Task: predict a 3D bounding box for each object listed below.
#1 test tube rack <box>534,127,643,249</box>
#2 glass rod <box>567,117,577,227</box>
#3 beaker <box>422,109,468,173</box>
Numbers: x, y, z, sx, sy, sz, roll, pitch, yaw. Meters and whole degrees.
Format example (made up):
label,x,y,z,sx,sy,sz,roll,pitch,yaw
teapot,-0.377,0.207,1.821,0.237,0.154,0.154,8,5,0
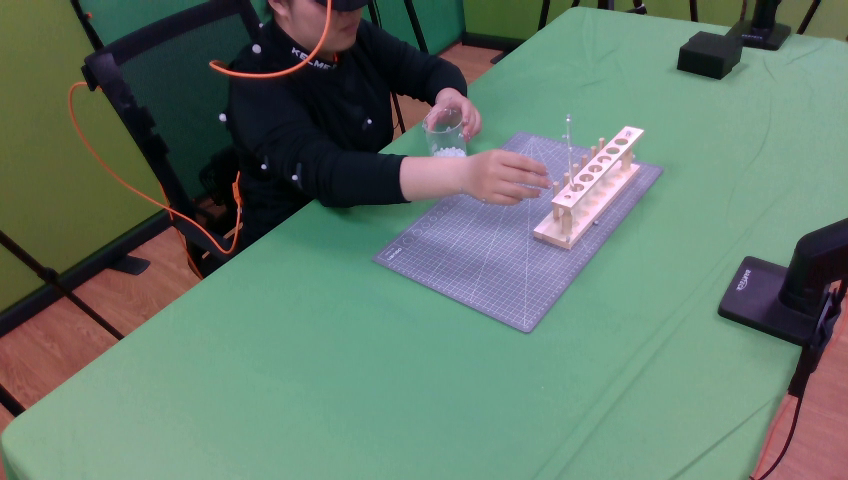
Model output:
label,x,y,z,sx,sy,sz,roll,pitch,yaw
test tube rack,0.272,-0.094,0.990,0.066,0.085,0.243,23,50,33
glass rod,0.219,-0.094,0.895,0.008,0.201,0.008,-9,41,8
beaker,0.043,-0.184,1.124,0.073,0.101,0.084,9,48,20
